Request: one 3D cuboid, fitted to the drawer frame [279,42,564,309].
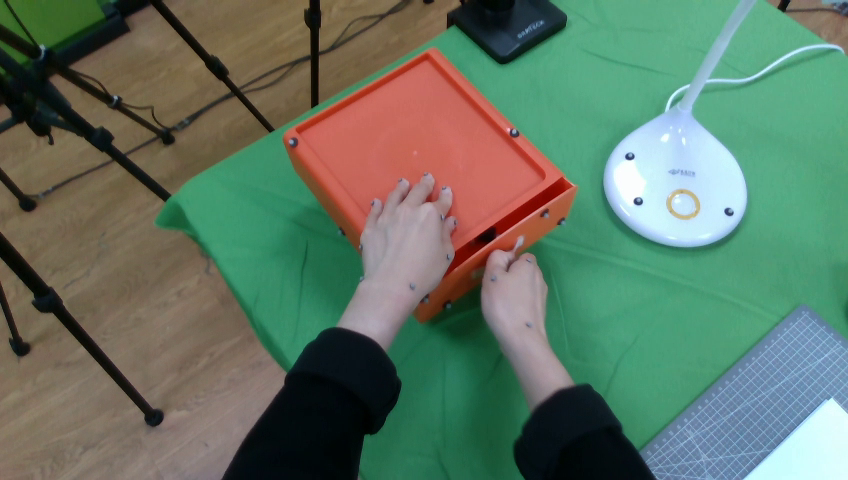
[{"bbox_3d":[-0.005,-0.071,0.627,0.201,0.083,0.212,-35,70,-14],"label":"drawer frame"}]

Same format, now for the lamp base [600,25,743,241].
[{"bbox_3d":[0.281,-0.117,0.635,0.161,0.182,0.177,-4,60,-1],"label":"lamp base"}]

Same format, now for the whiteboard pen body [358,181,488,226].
[{"bbox_3d":[-0.001,-0.036,0.622,0.140,0.017,0.017,17,64,9],"label":"whiteboard pen body"}]

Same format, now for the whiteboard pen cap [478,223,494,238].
[{"bbox_3d":[0.054,-0.015,0.618,0.033,0.018,0.018,19,65,7],"label":"whiteboard pen cap"}]

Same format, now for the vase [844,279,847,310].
[{"bbox_3d":[0.478,0.026,0.549,0.098,0.201,0.097,-1,61,2],"label":"vase"}]

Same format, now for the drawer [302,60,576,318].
[{"bbox_3d":[0.009,-0.060,0.616,0.194,0.074,0.210,-34,68,-14],"label":"drawer"}]

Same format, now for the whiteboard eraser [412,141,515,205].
[{"bbox_3d":[0.043,-0.073,0.663,0.111,0.042,0.055,18,70,43],"label":"whiteboard eraser"}]
